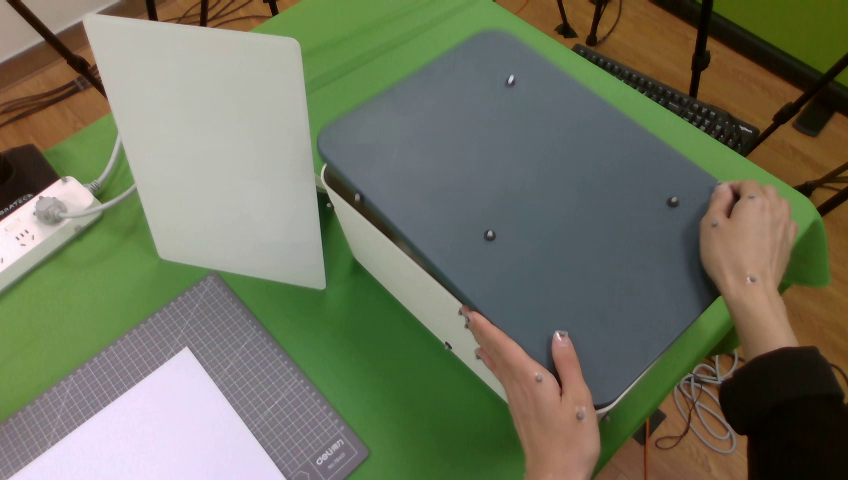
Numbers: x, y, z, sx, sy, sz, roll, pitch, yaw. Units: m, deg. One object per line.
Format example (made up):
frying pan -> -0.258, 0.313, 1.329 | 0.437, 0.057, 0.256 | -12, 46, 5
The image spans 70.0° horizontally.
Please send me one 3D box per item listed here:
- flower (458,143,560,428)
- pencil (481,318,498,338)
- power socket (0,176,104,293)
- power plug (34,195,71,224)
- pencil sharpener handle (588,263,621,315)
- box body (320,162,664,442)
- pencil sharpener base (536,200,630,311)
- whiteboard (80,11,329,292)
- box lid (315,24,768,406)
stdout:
flower -> 0.099, 0.037, 0.701 | 0.044, 0.038, 0.358 | -27, 59, 24
pencil -> 0.045, 0.042, 0.713 | 0.012, 0.012, 0.192 | -22, 63, -10
power socket -> -0.506, 0.005, 0.753 | 0.071, 0.033, 0.226 | 36, 66, 21
power plug -> -0.451, -0.026, 0.742 | 0.035, 0.053, 0.072 | -35, 65, -17
pencil sharpener handle -> 0.193, 0.053, 0.625 | 0.036, 0.068, 0.030 | -26, 60, 2
box body -> 0.103, 0.002, 0.650 | 0.254, 0.162, 0.361 | -40, 65, -20
pencil sharpener base -> 0.171, 0.021, 0.661 | 0.061, 0.108, 0.076 | -19, 59, -10
whiteboard -> -0.202, -0.115, 0.689 | 0.217, 0.308, 0.143 | 10, 40, 10
box lid -> 0.100, -0.056, 0.565 | 0.263, 0.015, 0.368 | -37, 68, -21
